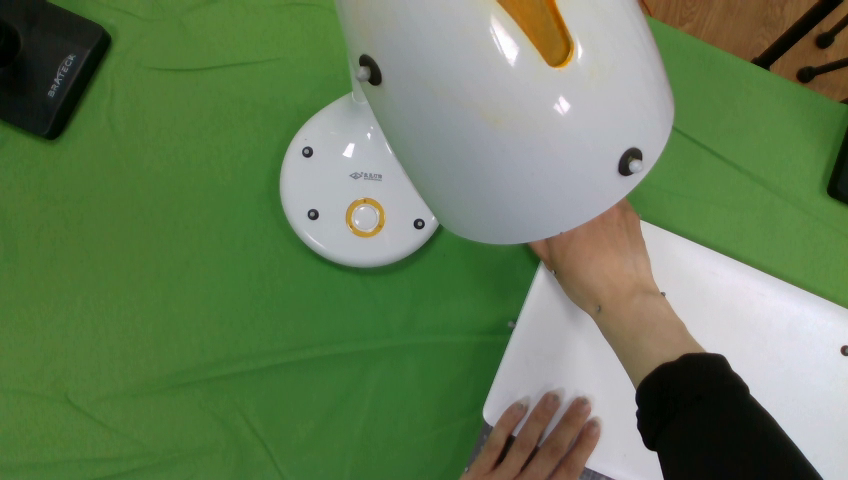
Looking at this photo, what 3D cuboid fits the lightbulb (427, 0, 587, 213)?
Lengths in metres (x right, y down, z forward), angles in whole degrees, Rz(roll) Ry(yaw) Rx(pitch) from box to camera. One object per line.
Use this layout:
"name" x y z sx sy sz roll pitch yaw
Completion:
"lightbulb" 0.029 -0.055 0.238 0.059 0.109 0.059 -14 48 17

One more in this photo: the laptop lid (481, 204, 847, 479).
"laptop lid" 0.254 0.124 0.567 0.357 0.013 0.241 24 83 0

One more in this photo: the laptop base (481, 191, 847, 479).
"laptop base" 0.254 0.123 0.579 0.354 0.023 0.235 23 84 -1

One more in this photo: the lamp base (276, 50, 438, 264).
"lamp base" -0.056 -0.080 0.500 0.161 0.180 0.178 -7 81 -5

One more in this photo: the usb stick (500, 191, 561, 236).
"usb stick" 0.104 -0.023 0.577 0.059 0.027 0.021 27 78 1

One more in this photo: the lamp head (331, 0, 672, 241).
"lamp head" 0.018 -0.078 0.220 0.112 0.111 0.124 -48 130 -8
